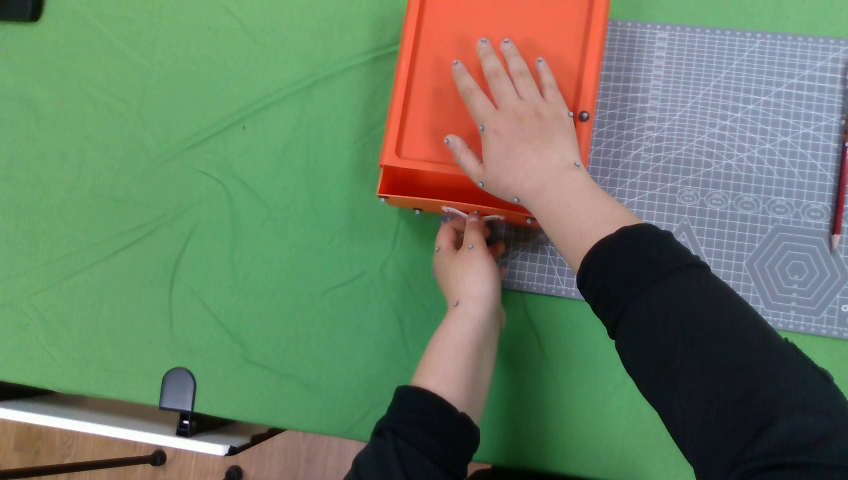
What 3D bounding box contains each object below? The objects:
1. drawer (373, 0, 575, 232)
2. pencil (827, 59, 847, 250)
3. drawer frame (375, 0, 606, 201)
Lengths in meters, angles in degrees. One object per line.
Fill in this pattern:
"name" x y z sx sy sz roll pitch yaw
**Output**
"drawer" 0.065 -0.124 0.616 0.194 0.073 0.211 9 85 10
"pencil" 0.412 -0.086 0.598 0.012 0.012 0.194 8 88 9
"drawer frame" 0.069 -0.155 0.617 0.201 0.083 0.213 7 85 10
